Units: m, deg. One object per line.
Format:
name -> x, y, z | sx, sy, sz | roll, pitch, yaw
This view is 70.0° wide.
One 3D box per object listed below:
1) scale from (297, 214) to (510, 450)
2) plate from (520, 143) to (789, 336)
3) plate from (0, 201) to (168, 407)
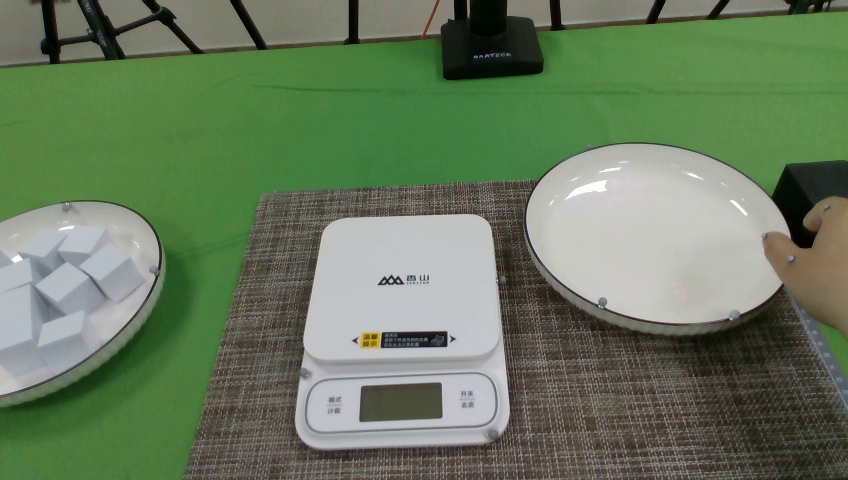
scale -> -0.015, 0.060, 0.467 | 0.148, 0.032, 0.199 | -3, 47, 3
plate -> 0.184, -0.002, 0.504 | 0.207, 0.039, 0.205 | -2, 47, 3
plate -> -0.315, 0.050, 0.503 | 0.209, 0.038, 0.207 | -2, 46, 3
